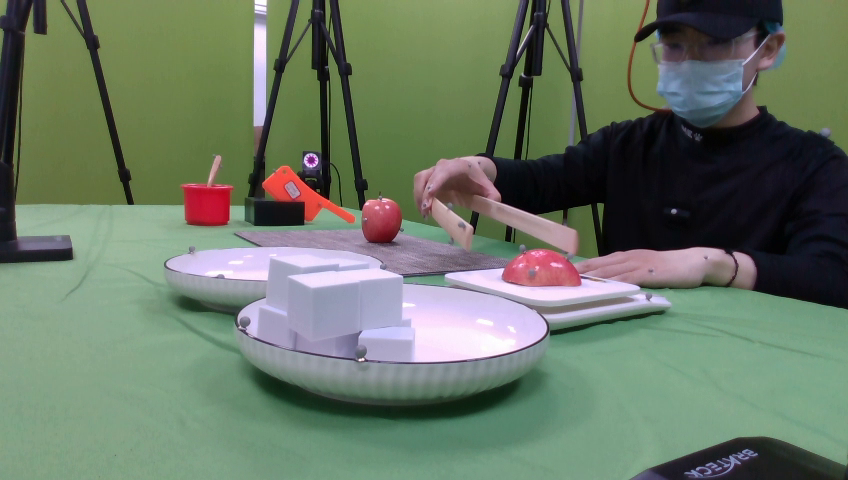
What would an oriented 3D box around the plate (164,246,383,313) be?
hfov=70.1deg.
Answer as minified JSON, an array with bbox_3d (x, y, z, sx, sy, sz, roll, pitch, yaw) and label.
[{"bbox_3d":[-0.145,0.038,0.600,0.209,0.038,0.209,2,7,0],"label":"plate"}]

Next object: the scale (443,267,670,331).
[{"bbox_3d":[0.131,0.052,0.603,0.202,0.031,0.148,-2,9,-37],"label":"scale"}]

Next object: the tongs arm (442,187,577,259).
[{"bbox_3d":[0.095,-0.032,0.780,0.028,0.028,0.386,-2,12,-16],"label":"tongs arm"}]

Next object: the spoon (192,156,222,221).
[{"bbox_3d":[-0.430,-0.108,1.222,0.041,0.021,0.193,-2,52,1],"label":"spoon"}]

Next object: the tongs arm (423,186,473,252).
[{"bbox_3d":[0.035,-0.036,0.767,0.051,0.026,0.384,3,11,-10],"label":"tongs arm"}]

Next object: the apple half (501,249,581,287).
[{"bbox_3d":[0.111,0.024,0.585,0.081,0.033,0.081,2,9,0],"label":"apple half"}]

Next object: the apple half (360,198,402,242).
[{"bbox_3d":[-0.066,-0.032,1.014,0.053,0.074,0.081,9,6,21],"label":"apple half"}]

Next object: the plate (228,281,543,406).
[{"bbox_3d":[-0.025,0.067,0.413,0.208,0.039,0.207,3,7,0],"label":"plate"}]

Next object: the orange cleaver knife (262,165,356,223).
[{"bbox_3d":[-0.243,-0.081,1.292,0.212,0.077,0.012,34,-8,-26],"label":"orange cleaver knife"}]
